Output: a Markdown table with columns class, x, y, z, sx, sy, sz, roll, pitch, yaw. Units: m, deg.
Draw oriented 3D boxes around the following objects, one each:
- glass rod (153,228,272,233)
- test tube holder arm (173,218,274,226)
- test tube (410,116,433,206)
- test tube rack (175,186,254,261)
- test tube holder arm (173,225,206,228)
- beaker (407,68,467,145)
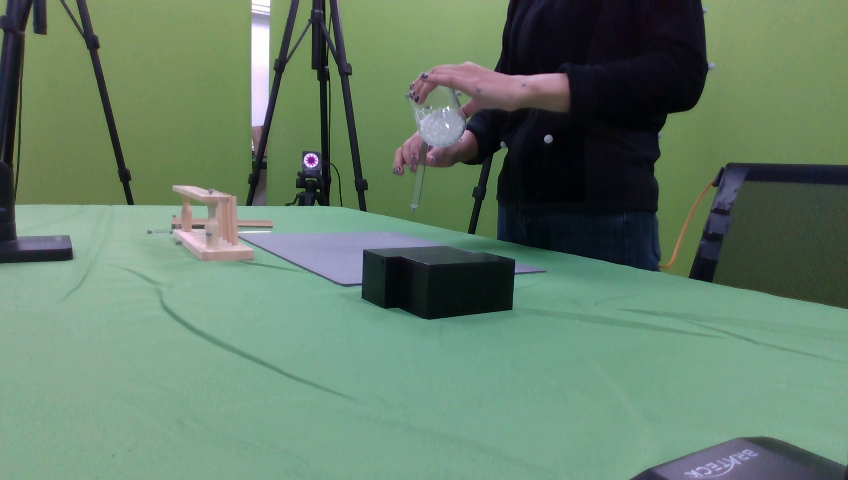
| class | x | y | z | sx | sy | sz | roll | pitch | yaw |
| --- | --- | --- | --- | --- | --- | --- | --- | --- | --- |
| glass rod | -0.368 | -0.017 | 1.065 | 0.201 | 0.008 | 0.008 | -2 | 8 | -27 |
| test tube holder arm | -0.371 | -0.033 | 1.128 | 0.179 | 0.015 | 0.013 | -1 | -21 | -25 |
| test tube | -0.004 | -0.125 | 0.972 | 0.017 | 0.150 | 0.017 | 8 | 22 | -3 |
| test tube rack | -0.314 | -0.031 | 0.889 | 0.067 | 0.085 | 0.241 | -2 | 8 | -30 |
| test tube holder arm | -0.414 | -0.030 | 1.113 | 0.088 | 0.015 | 0.010 | -1 | -21 | -25 |
| beaker | 0.019 | -0.191 | 0.886 | 0.074 | 0.084 | 0.100 | -3 | 43 | -11 |
